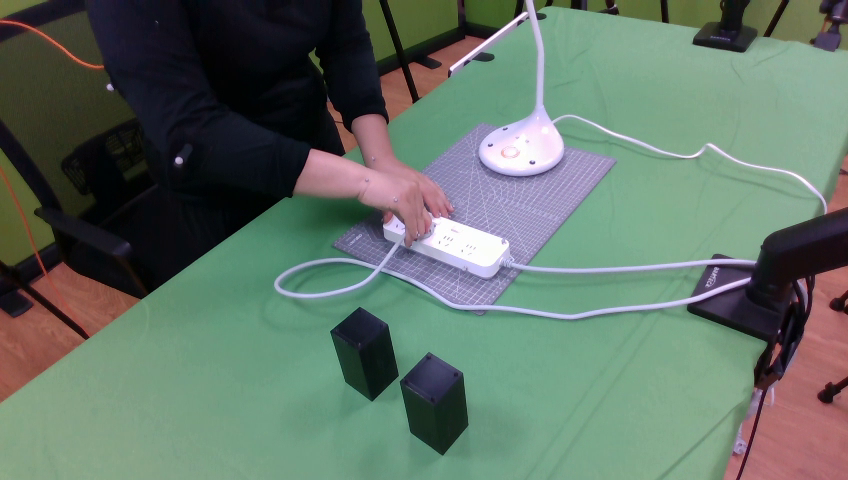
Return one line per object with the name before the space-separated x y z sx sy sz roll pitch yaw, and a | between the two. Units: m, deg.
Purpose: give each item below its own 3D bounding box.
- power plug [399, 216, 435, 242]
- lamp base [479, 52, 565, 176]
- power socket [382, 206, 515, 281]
power plug | -0.015 -0.008 0.937 0.073 0.053 0.035 -35 47 -23
lamp base | 0.182 -0.235 1.094 0.159 0.181 0.179 18 44 27
power socket | 0.032 0.002 0.951 0.225 0.033 0.072 21 49 29
